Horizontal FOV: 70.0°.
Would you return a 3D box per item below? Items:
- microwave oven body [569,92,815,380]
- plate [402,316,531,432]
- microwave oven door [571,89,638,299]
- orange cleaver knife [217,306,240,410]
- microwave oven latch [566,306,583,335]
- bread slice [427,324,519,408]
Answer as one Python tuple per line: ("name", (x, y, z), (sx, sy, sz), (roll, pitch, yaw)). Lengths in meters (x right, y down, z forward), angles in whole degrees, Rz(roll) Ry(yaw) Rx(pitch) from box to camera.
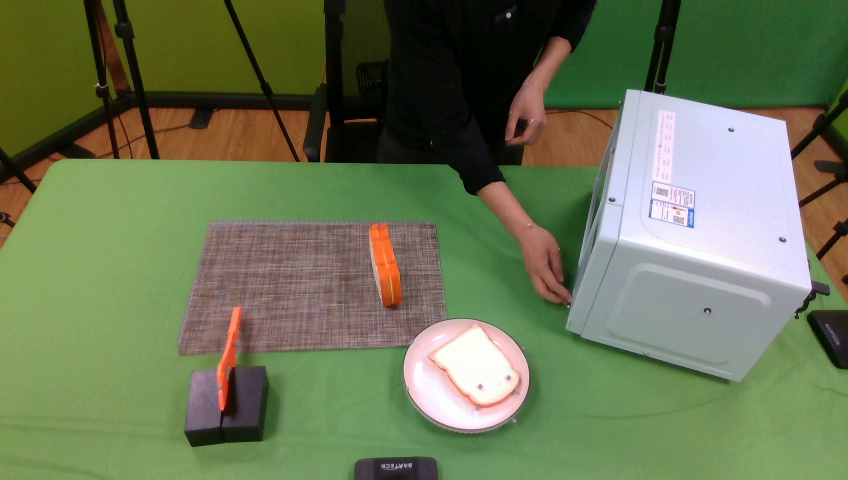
("microwave oven body", (0.469, -0.021, 1.082), (0.325, 0.261, 0.440), (15, 46, 11))
("plate", (0.066, 0.217, 0.982), (0.208, 0.039, 0.206), (2, 46, -2))
("microwave oven door", (0.343, -0.091, 1.133), (0.039, 0.245, 0.354), (15, 47, 10))
("orange cleaver knife", (-0.307, 0.180, 0.957), (0.012, 0.077, 0.210), (-2, 25, -8))
("microwave oven latch", (0.269, 0.127, 1.058), (0.030, 0.029, 0.079), (18, 47, 14))
("bread slice", (0.088, 0.209, 0.989), (0.107, 0.018, 0.133), (-32, 57, -26))
